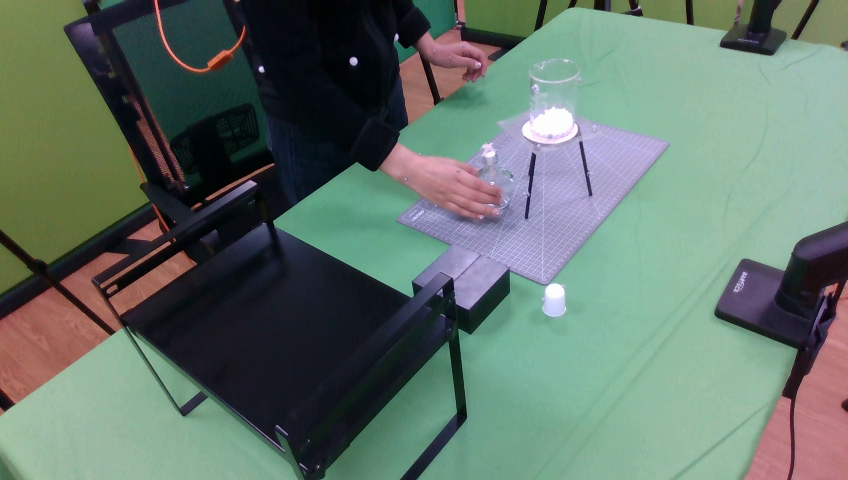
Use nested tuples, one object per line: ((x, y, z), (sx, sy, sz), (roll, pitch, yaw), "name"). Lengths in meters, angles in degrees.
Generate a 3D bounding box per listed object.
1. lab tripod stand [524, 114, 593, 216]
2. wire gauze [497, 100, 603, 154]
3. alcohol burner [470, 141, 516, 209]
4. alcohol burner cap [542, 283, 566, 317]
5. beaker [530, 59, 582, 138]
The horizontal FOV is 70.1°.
((0.210, -0.127, 1.001), (0.148, 0.132, 0.147), (-4, 43, 4), "lab tripod stand")
((0.199, -0.179, 0.962), (0.125, 0.011, 0.120), (-21, 42, -12), "wire gauze")
((0.113, -0.110, 0.996), (0.078, 0.119, 0.077), (-5, 41, 5), "alcohol burner")
((0.181, 0.081, 0.839), (0.034, 0.048, 0.033), (-3, 40, 3), "alcohol burner cap")
((0.198, -0.217, 0.932), (0.074, 0.101, 0.083), (-22, 43, -16), "beaker")
